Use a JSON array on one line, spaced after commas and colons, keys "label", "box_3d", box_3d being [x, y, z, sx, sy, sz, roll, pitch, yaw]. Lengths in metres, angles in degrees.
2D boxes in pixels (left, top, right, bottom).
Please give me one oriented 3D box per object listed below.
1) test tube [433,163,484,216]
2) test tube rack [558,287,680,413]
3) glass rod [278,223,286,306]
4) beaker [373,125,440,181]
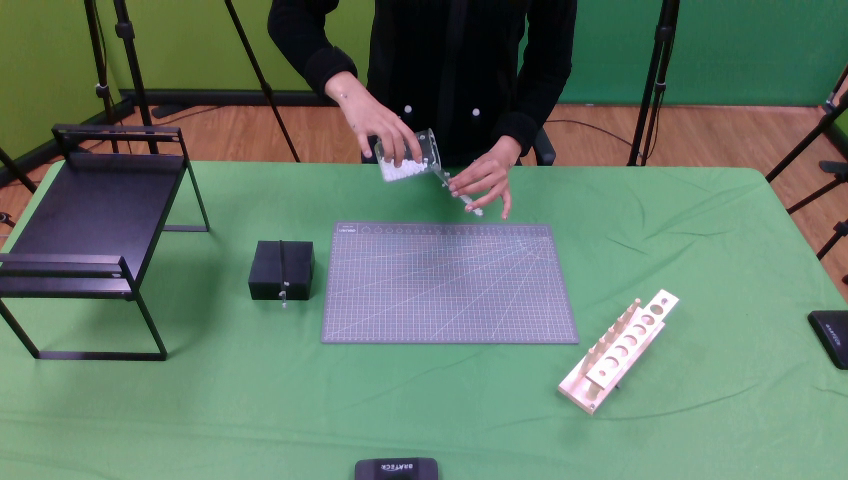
[{"label": "test tube", "box_3d": [0.064, -0.088, 1.091, 0.017, 0.151, 0.017, -25, 43, 27]}, {"label": "test tube rack", "box_3d": [0.327, 0.170, 1.009, 0.066, 0.085, 0.242, 36, 54, 26]}, {"label": "glass rod", "box_3d": [-0.254, 0.039, 1.081, 0.008, 0.008, 0.198, -6, 47, -10]}, {"label": "beaker", "box_3d": [-0.029, -0.141, 1.016, 0.100, 0.084, 0.073, -14, 48, -2]}]
